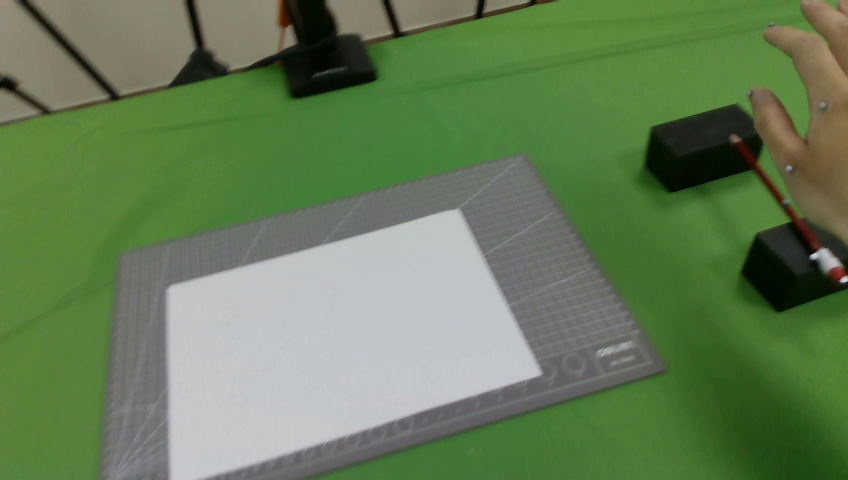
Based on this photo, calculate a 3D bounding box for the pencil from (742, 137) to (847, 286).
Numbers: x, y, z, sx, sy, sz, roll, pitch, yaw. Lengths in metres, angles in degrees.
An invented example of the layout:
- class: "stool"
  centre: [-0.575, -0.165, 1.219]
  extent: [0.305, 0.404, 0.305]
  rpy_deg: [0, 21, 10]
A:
- class: "pencil"
  centre: [0.318, -0.034, 0.525]
  extent: [0.012, 0.012, 0.192]
  rpy_deg: [-7, 44, 2]
